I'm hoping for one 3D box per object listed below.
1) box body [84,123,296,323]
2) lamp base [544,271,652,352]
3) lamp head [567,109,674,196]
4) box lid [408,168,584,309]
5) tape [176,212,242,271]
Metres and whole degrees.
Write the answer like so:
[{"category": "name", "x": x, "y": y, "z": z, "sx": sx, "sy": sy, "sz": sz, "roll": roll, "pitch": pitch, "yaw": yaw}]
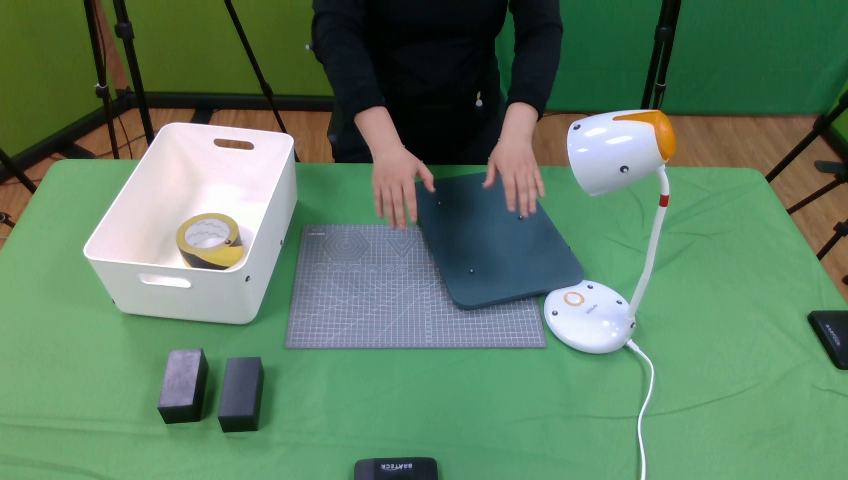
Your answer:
[{"category": "box body", "x": -0.393, "y": -0.035, "z": 1.104, "sx": 0.254, "sy": 0.161, "sz": 0.362, "roll": 5, "pitch": 46, "yaw": 1}, {"category": "lamp base", "x": 0.310, "y": 0.086, "z": 1.029, "sx": 0.178, "sy": 0.181, "sz": 0.160, "roll": 32, "pitch": 52, "yaw": 21}, {"category": "lamp head", "x": 0.272, "y": -0.123, "z": 0.818, "sx": 0.122, "sy": 0.113, "sz": 0.112, "roll": -9, "pitch": 35, "yaw": 37}, {"category": "box lid", "x": 0.133, "y": -0.018, "z": 1.224, "sx": 0.263, "sy": 0.015, "sz": 0.369, "roll": -11, "pitch": 45, "yaw": -12}, {"category": "tape", "x": -0.401, "y": 0.005, "z": 1.133, "sx": 0.117, "sy": 0.053, "sz": 0.116, "roll": 2, "pitch": 46, "yaw": -2}]
